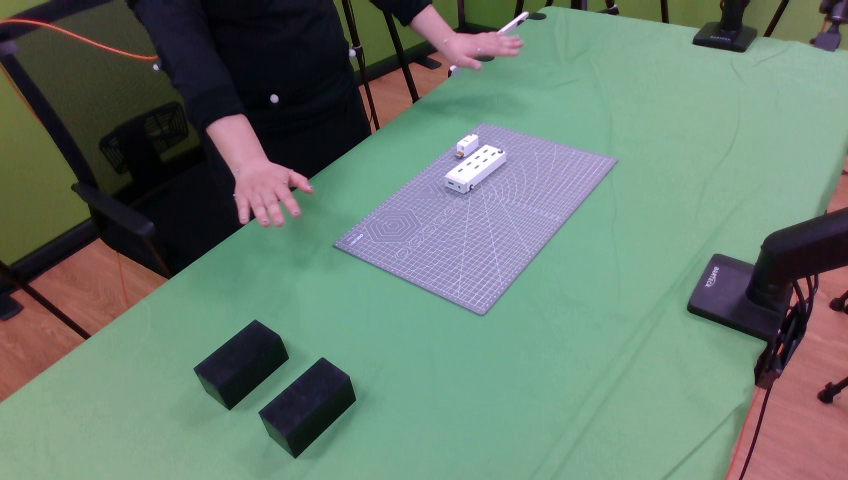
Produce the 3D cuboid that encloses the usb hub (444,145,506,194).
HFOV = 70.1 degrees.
[{"bbox_3d":[0.095,-0.129,1.101,0.049,0.025,0.125,27,51,33],"label":"usb hub"}]

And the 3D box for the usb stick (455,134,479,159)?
[{"bbox_3d":[0.080,-0.177,1.159,0.021,0.027,0.059,24,52,33],"label":"usb stick"}]
